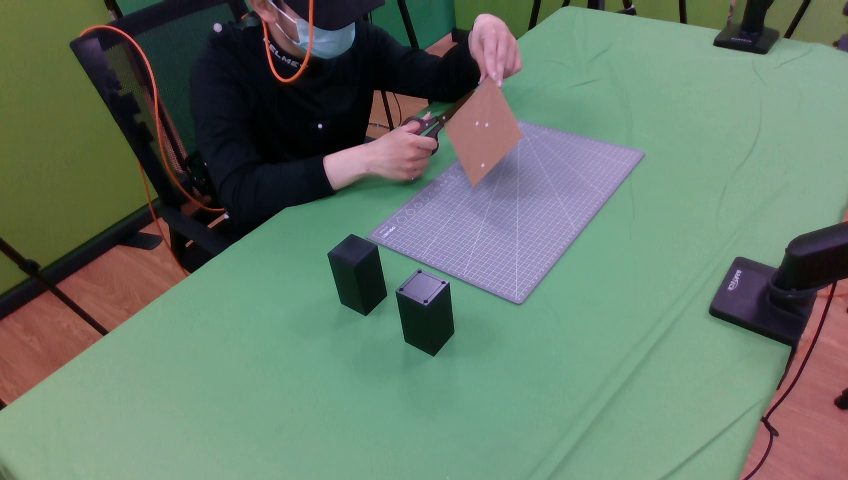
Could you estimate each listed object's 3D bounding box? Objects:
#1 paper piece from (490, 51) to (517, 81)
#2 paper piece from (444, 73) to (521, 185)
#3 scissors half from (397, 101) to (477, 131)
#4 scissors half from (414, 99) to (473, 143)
[{"bbox_3d":[0.106,-0.272,1.089,0.008,0.135,0.138,44,42,-2],"label":"paper piece"},{"bbox_3d":[0.093,-0.182,1.002,0.004,0.135,0.135,0,58,-39],"label":"paper piece"},{"bbox_3d":[0.019,-0.220,1.059,0.174,0.040,0.013,-7,63,36],"label":"scissors half"},{"bbox_3d":[0.035,-0.211,1.071,0.040,0.174,0.013,25,64,-21],"label":"scissors half"}]
